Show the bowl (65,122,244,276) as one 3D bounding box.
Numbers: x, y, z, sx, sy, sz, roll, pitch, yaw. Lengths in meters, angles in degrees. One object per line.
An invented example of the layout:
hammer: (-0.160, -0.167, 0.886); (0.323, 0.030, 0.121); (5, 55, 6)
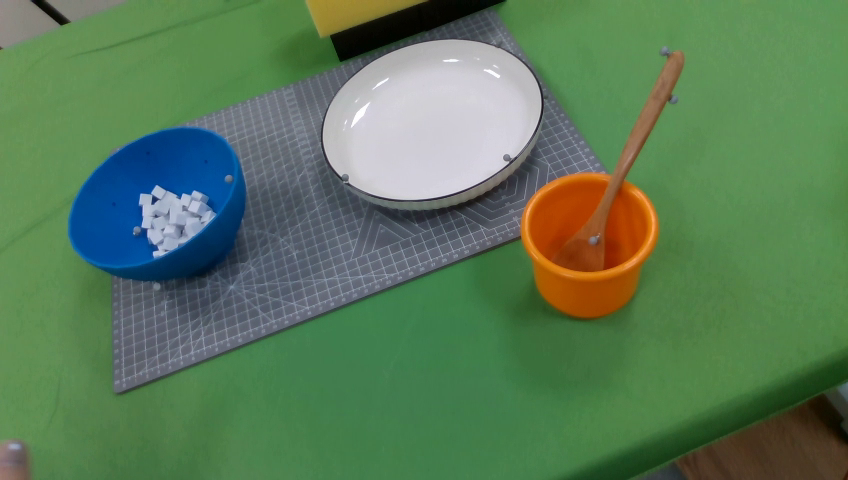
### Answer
bowl: (-0.220, -0.023, 0.535); (0.151, 0.077, 0.150); (-6, 56, 9)

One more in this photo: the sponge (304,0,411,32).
sponge: (-0.035, -0.308, 0.637); (0.207, 0.061, 0.117); (-20, 55, -1)

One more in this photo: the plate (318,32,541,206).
plate: (0.005, -0.112, 0.568); (0.209, 0.038, 0.207); (-6, 56, 9)

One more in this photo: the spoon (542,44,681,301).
spoon: (0.134, -0.042, 0.429); (0.041, 0.194, 0.022); (32, 25, 28)
